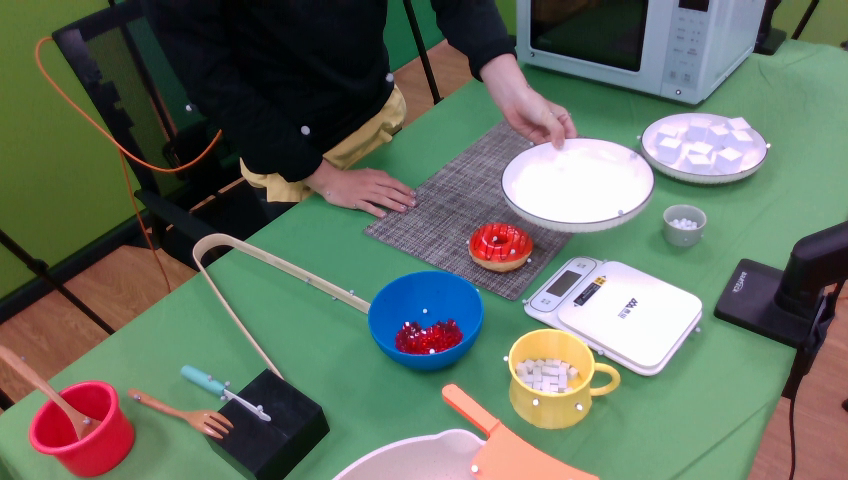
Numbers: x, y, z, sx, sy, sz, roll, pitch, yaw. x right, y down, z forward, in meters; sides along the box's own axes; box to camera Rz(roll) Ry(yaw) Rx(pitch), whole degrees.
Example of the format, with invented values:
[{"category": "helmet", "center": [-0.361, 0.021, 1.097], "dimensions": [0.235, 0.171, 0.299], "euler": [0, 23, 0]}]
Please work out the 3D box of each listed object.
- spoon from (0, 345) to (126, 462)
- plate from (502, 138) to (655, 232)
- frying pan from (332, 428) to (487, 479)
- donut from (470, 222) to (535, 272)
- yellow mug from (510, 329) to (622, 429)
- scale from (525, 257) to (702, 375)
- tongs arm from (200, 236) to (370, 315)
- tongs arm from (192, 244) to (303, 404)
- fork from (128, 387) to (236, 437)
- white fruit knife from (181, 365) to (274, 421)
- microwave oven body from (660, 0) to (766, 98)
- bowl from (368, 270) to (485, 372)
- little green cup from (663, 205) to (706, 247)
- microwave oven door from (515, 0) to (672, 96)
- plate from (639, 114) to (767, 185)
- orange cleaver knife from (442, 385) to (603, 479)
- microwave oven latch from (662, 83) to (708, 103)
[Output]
[{"category": "spoon", "center": [-0.434, 0.192, 0.720], "dimensions": [0.194, 0.021, 0.042], "euler": [47, 53, -7]}, {"category": "plate", "center": [0.214, -0.075, 0.850], "dimensions": [0.209, 0.038, 0.208], "euler": [-5, 40, 5]}, {"category": "frying pan", "center": [-0.089, 0.306, 0.564], "dimensions": [0.487, 0.103, 0.306], "euler": [10, 41, 7]}, {"category": "donut", "center": [0.119, 0.009, 0.923], "dimensions": [0.099, 0.048, 0.098], "euler": [-4, 38, 4]}, {"category": "yellow mug", "center": [0.168, 0.164, 0.721], "dimensions": [0.130, 0.064, 0.099], "euler": [0, 40, 8]}, {"category": "scale", "center": [0.254, 0.091, 0.821], "dimensions": [0.199, 0.032, 0.149], "euler": [28, 51, 35]}, {"category": "tongs arm", "center": [-0.209, 0.063, 0.924], "dimensions": [0.381, 0.026, 0.051], "euler": [23, 53, 32]}, {"category": "tongs arm", "center": [-0.268, 0.110, 0.883], "dimensions": [0.028, 0.028, 0.384], "euler": [-36, 46, -18]}, {"category": "fork", "center": [-0.305, 0.208, 0.744], "dimensions": [0.206, 0.019, 0.028], "euler": [3, 41, 36]}, {"category": "white fruit knife", "center": [-0.245, 0.187, 0.747], "dimensions": [0.205, 0.027, 0.016], "euler": [9, 41, 40]}, {"category": "microwave oven body", "center": [0.472, -0.513, 1.317], "dimensions": [0.438, 0.261, 0.327], "euler": [26, 51, 34]}, {"category": "bowl", "center": [0.007, 0.119, 0.791], "dimensions": [0.151, 0.077, 0.150], "euler": [-5, 39, 4]}, {"category": "little green cup", "center": [0.396, -0.020, 0.927], "dimensions": [0.061, 0.039, 0.061], "euler": [-4, 40, 4]}, {"category": "microwave oven door", "center": [0.343, -0.455, 1.259], "dimensions": [0.353, 0.245, 0.039], "euler": [26, 51, 33]}, {"category": "plate", "center": [0.489, -0.157, 1.074], "dimensions": [0.207, 0.039, 0.206], "euler": [-4, 40, 4]}, {"category": "orange cleaver knife", "center": [0.086, 0.219, 0.612], "dimensions": [0.209, 0.012, 0.077], "euler": [28, 49, 35]}, {"category": "microwave oven latch", "center": [0.518, -0.296, 1.204], "dimensions": [0.078, 0.029, 0.030], "euler": [28, 52, 35]}]
